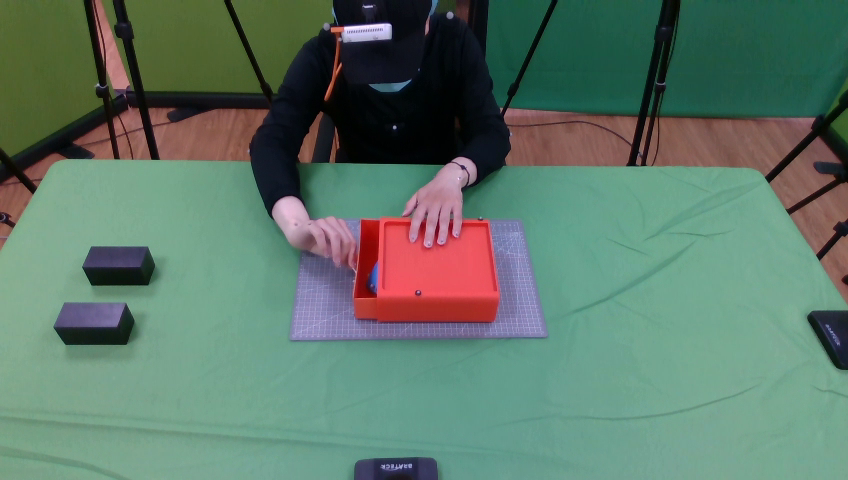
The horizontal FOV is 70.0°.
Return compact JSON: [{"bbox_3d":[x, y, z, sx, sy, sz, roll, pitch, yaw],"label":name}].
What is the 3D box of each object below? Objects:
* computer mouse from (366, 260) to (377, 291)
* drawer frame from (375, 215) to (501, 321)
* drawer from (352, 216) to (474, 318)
[{"bbox_3d":[-0.056,0.047,1.111,0.062,0.041,0.117,26,62,10],"label":"computer mouse"},{"bbox_3d":[0.020,0.049,1.102,0.214,0.083,0.200,1,46,-4],"label":"drawer frame"},{"bbox_3d":[-0.019,0.047,1.100,0.212,0.073,0.193,1,46,-1],"label":"drawer"}]
